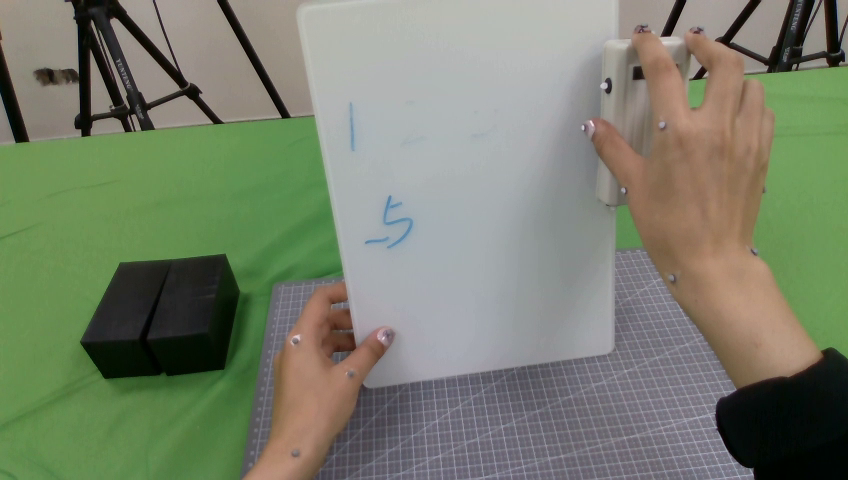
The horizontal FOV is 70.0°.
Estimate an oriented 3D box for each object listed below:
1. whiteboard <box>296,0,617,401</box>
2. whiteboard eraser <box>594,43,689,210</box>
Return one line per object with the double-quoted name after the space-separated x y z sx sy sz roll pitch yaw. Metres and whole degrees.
0.034 -0.046 0.516 0.217 0.307 0.143 -7 21 -2 "whiteboard"
0.150 -0.079 0.426 0.056 0.113 0.041 -6 20 -7 "whiteboard eraser"
